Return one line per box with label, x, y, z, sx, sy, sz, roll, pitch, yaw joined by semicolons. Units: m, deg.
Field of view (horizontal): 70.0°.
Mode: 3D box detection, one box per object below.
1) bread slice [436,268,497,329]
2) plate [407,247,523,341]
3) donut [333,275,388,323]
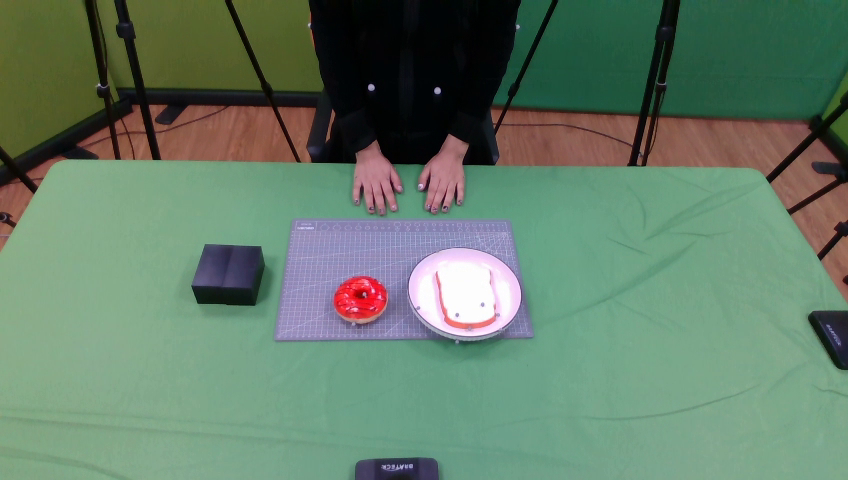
bread slice;0.080;0.103;1.091;0.105;0.019;0.130;-3;46;-5
plate;0.073;0.099;1.093;0.209;0.038;0.208;2;46;-2
donut;-0.112;0.103;1.072;0.099;0.048;0.098;0;46;0
